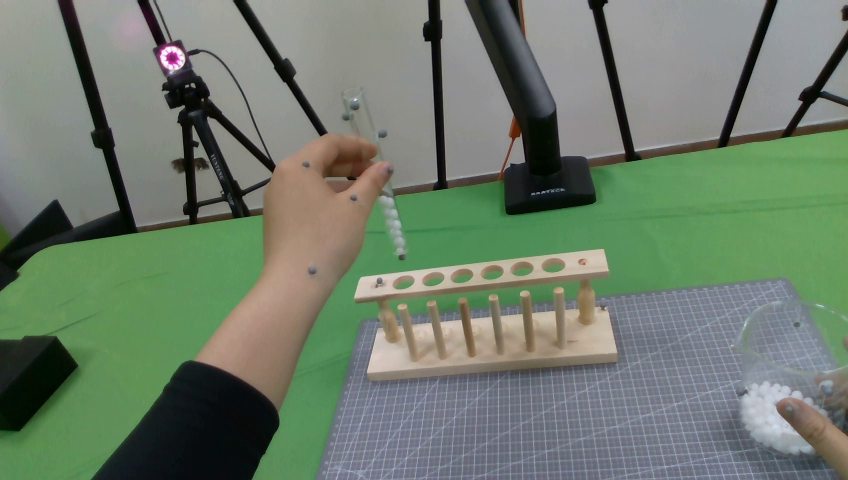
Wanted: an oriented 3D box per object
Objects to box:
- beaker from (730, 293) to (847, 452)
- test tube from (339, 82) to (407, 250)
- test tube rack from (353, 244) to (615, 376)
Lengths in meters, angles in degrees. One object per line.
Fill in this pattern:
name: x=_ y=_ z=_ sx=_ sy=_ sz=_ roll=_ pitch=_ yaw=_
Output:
beaker: x=0.271 y=0.101 z=0.449 sx=0.084 sy=0.101 sz=0.073 roll=-8 pitch=34 yaw=13
test tube: x=-0.035 y=-0.049 z=0.456 sx=0.017 sy=0.152 sz=0.017 roll=-8 pitch=42 yaw=8
test tube rack: x=0.056 y=0.071 z=0.591 sx=0.242 sy=0.086 sz=0.066 roll=-7 pitch=35 yaw=12
